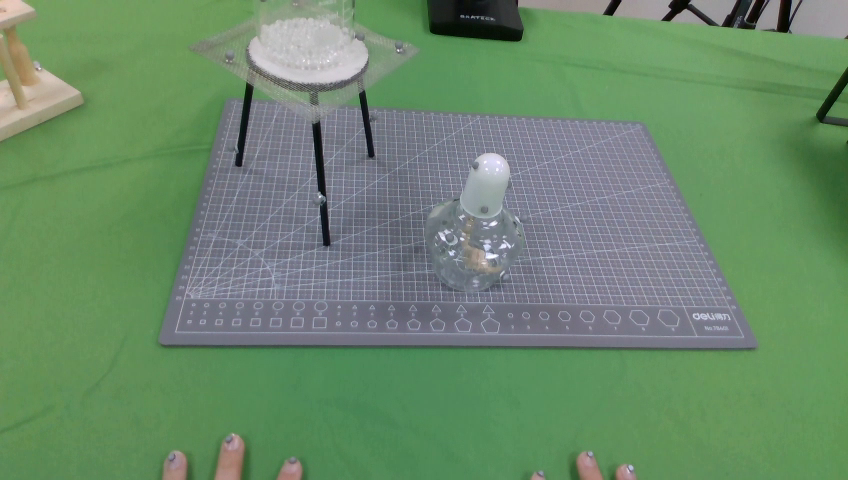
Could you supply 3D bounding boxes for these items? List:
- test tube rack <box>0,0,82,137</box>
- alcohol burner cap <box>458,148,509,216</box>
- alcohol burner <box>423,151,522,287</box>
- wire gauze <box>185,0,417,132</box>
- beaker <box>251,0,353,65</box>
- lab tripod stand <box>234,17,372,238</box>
[{"bbox_3d":[-0.421,-0.114,0.494,0.066,0.086,0.242,31,50,19],"label":"test tube rack"},{"bbox_3d":[0.044,-0.043,0.430,0.034,0.048,0.033,4,51,-5],"label":"alcohol burner cap"},{"bbox_3d":[0.040,-0.020,0.457,0.078,0.120,0.077,6,45,-6],"label":"alcohol burner"},{"bbox_3d":[-0.087,-0.141,0.446,0.124,0.011,0.121,34,54,16],"label":"wire gauze"},{"bbox_3d":[-0.085,-0.179,0.413,0.073,0.101,0.084,39,55,23],"label":"beaker"},{"bbox_3d":[-0.092,-0.096,0.493,0.149,0.132,0.147,6,47,-6],"label":"lab tripod stand"}]
